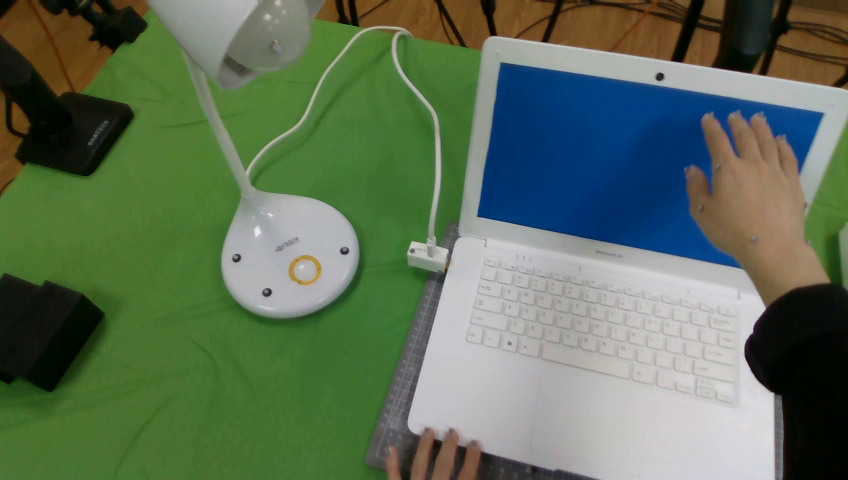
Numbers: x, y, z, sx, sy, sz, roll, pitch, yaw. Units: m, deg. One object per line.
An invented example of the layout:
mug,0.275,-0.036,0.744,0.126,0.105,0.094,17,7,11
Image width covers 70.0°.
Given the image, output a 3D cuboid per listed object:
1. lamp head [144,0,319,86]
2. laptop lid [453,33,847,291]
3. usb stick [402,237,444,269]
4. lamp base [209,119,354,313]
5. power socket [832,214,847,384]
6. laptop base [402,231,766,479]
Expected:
lamp head,-0.136,-0.176,0.382,0.123,0.112,0.112,41,66,-3
laptop lid,0.215,-0.075,0.640,0.356,0.243,0.013,10,30,9
usb stick,0.006,0.017,0.696,0.059,0.027,0.021,15,56,7
lamp base,-0.175,-0.034,0.652,0.160,0.182,0.177,-41,63,-20
power socket,0.492,0.065,0.658,0.072,0.033,0.225,13,60,8
laptop base,0.174,0.124,0.642,0.353,0.023,0.234,11,64,8
